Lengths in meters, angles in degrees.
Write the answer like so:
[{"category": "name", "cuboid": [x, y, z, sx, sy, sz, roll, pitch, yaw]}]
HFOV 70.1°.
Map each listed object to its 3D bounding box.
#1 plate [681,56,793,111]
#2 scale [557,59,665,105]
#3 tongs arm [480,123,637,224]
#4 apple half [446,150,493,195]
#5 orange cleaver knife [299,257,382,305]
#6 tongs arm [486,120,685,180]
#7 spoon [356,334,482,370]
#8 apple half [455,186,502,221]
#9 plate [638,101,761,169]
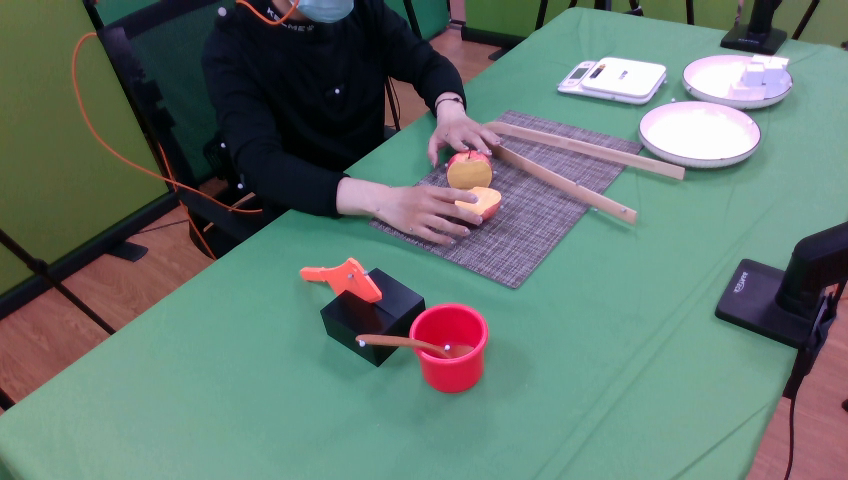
[{"category": "plate", "cuboid": [0.636, -0.317, 1.239, 0.207, 0.039, 0.206, -4, 40, 4]}, {"category": "scale", "cuboid": [0.407, -0.348, 1.314, 0.199, 0.032, 0.149, 19, 47, 28]}, {"category": "tongs arm", "cuboid": [0.227, -0.128, 1.080, 0.051, 0.026, 0.381, -33, 46, -26]}, {"category": "apple half", "cuboid": [0.081, -0.123, 1.065, 0.081, 0.075, 0.053, -7, 37, 7]}, {"category": "orange cleaver knife", "cuboid": [-0.124, 0.061, 0.872, 0.012, 0.077, 0.210, -38, 17, -30]}, {"category": "tongs arm", "cuboid": [0.287, -0.171, 1.123, 0.384, 0.028, 0.028, 21, 52, 29]}, {"category": "spoon", "cuboid": [-0.001, 0.130, 0.731, 0.195, 0.021, 0.041, 22, 28, -39]}, {"category": "apple half", "cuboid": [0.093, -0.056, 1.014, 0.081, 0.033, 0.081, -14, 38, 12]}, {"category": "plate", "cuboid": [0.500, -0.189, 1.111, 0.209, 0.038, 0.208, -4, 41, 4]}]
